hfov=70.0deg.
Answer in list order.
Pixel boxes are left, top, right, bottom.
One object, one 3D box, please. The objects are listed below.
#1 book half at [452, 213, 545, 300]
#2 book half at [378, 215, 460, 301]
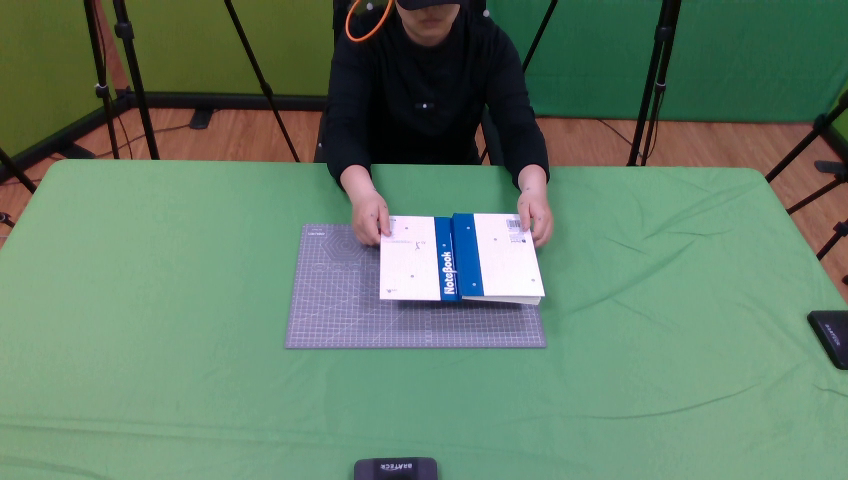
[{"bbox_3d":[0.132,0.025,1.115,0.149,0.016,0.209,0,45,-3],"label":"book half"},{"bbox_3d":[-0.011,0.028,1.110,0.143,0.007,0.208,2,46,-5],"label":"book half"}]
